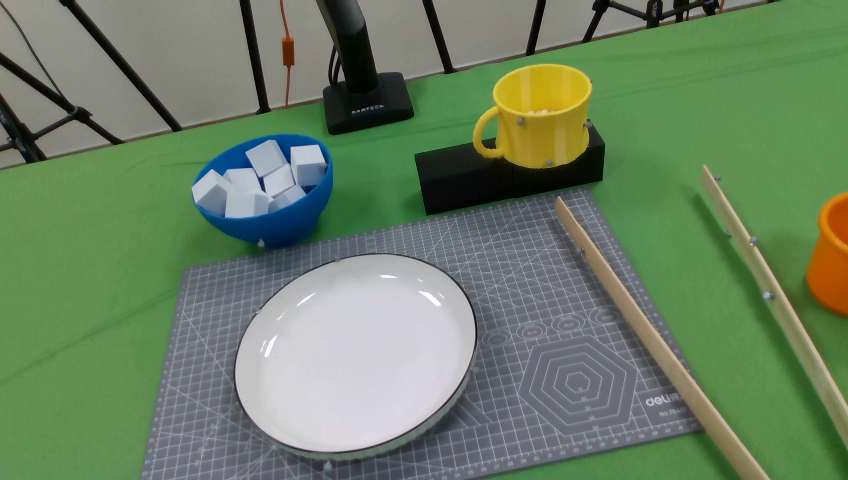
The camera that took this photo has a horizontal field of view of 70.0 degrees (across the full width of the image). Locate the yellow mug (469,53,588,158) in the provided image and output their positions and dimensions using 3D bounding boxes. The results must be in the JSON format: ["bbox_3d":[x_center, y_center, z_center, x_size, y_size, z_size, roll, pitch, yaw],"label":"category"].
[{"bbox_3d":[0.106,-0.136,0.631,0.131,0.064,0.099,-23,45,-11],"label":"yellow mug"}]

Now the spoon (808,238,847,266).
[{"bbox_3d":[0.371,0.003,0.447,0.041,0.193,0.021,-29,90,-13],"label":"spoon"}]

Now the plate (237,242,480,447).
[{"bbox_3d":[-0.054,0.086,0.525,0.207,0.039,0.205,-6,44,6],"label":"plate"}]

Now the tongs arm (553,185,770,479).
[{"bbox_3d":[0.194,0.076,0.493,0.028,0.028,0.383,-15,45,-10],"label":"tongs arm"}]

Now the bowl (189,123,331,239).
[{"bbox_3d":[-0.168,-0.054,0.666,0.151,0.077,0.150,-6,44,6],"label":"bowl"}]

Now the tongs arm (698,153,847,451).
[{"bbox_3d":[0.275,0.058,0.493,0.051,0.027,0.380,-7,46,2],"label":"tongs arm"}]
